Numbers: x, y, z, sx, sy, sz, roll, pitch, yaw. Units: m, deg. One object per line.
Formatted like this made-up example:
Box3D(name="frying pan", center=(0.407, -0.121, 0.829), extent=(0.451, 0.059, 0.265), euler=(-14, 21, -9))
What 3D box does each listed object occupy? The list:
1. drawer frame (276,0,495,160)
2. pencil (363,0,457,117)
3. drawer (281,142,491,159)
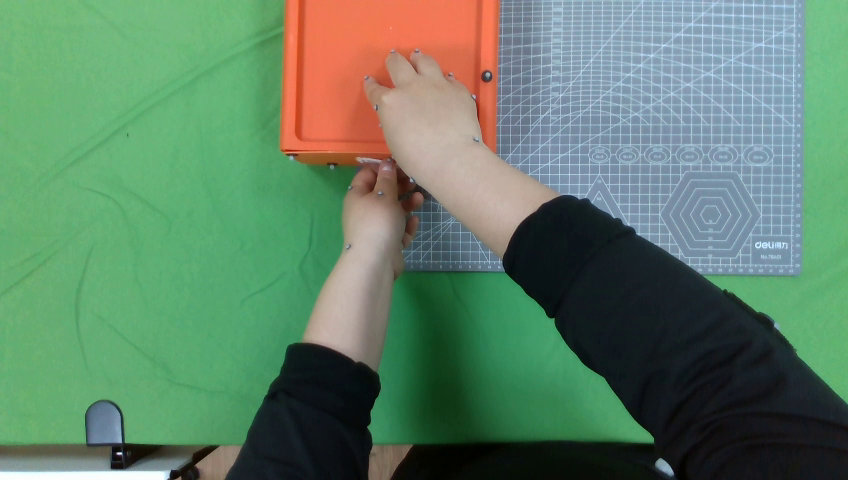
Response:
Box3D(name="drawer frame", center=(-0.033, -0.188, 0.581), extent=(0.201, 0.083, 0.213), euler=(1, 90, 4))
Box3D(name="pencil", center=(-0.026, -0.199, 0.602), extent=(0.012, 0.012, 0.194), euler=(-37, 89, 3))
Box3D(name="drawer", center=(-0.031, -0.184, 0.581), extent=(0.194, 0.073, 0.211), euler=(1, 90, 4))
